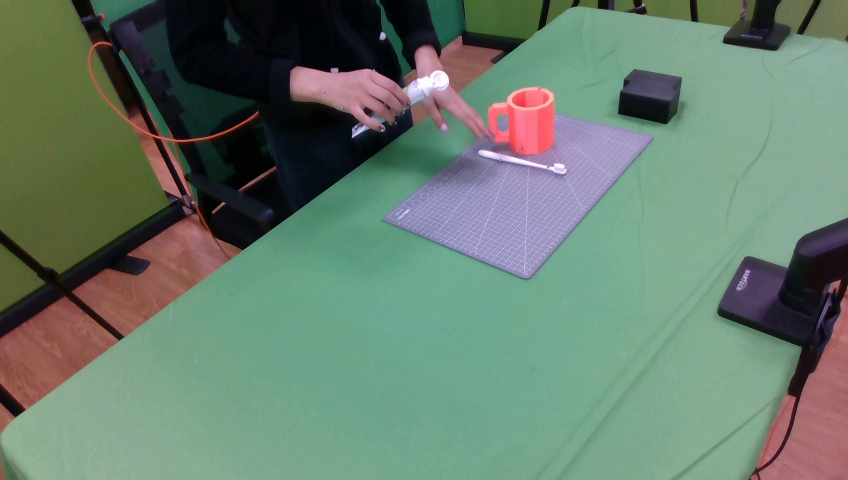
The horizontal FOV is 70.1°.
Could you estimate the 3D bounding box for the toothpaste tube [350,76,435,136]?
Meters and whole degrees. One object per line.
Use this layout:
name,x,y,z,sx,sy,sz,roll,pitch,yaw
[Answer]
toothpaste tube,-0.054,-0.226,1.014,0.165,0.035,0.055,-30,23,7

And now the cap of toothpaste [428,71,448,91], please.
cap of toothpaste,0.024,-0.270,1.023,0.037,0.037,0.011,-22,-1,-14

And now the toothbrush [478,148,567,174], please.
toothbrush,0.180,-0.149,1.123,0.180,0.017,0.014,18,62,31

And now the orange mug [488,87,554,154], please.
orange mug,0.185,-0.227,1.151,0.126,0.101,0.083,1,41,5
